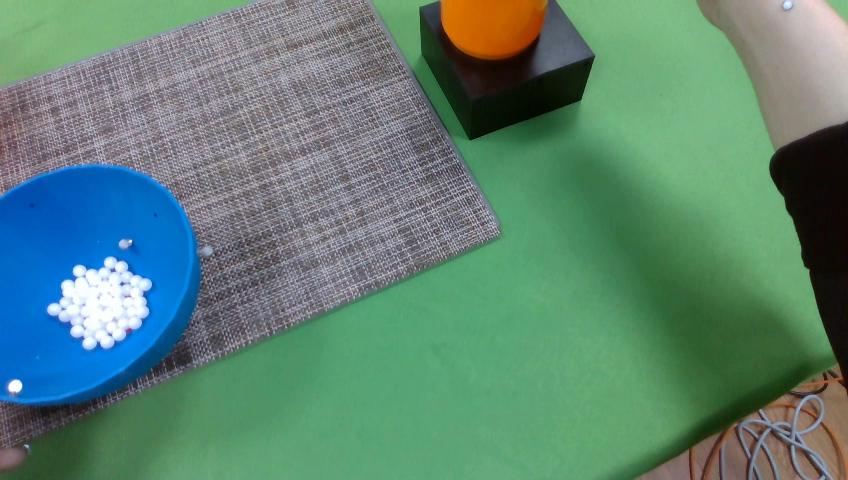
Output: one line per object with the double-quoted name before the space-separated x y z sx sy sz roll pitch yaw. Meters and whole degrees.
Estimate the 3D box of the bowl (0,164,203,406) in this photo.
"bowl" -0.206 0.036 0.383 0.151 0.077 0.150 0 64 1
